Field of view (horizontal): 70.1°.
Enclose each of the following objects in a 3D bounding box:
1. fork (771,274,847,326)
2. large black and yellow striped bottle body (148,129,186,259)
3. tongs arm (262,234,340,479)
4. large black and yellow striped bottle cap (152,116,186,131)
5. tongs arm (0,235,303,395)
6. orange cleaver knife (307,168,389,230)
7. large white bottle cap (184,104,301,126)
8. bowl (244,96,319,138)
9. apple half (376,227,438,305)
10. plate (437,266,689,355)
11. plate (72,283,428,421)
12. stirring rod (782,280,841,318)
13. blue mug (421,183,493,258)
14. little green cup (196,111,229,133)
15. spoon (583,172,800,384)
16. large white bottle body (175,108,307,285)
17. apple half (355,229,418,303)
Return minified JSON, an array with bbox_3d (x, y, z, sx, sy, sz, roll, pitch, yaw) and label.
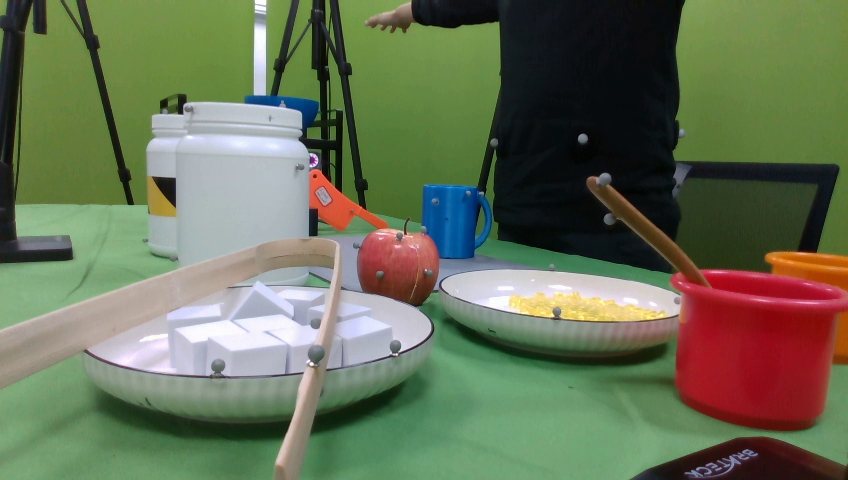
[{"bbox_3d":[0.332,0.018,0.443,0.028,0.018,0.207,-1,-36,-15],"label":"fork"},{"bbox_3d":[-0.310,-0.073,0.838,0.131,0.184,0.130,2,8,0],"label":"large black and yellow striped bottle body"},{"bbox_3d":[-0.074,0.039,0.349,0.051,0.026,0.384,-2,10,-3],"label":"tongs arm"},{"bbox_3d":[-0.309,-0.155,0.826,0.115,0.019,0.115,3,6,0],"label":"large black and yellow striped bottle cap"},{"bbox_3d":[-0.157,0.038,0.351,0.028,0.028,0.388,-3,9,12],"label":"tongs arm"},{"bbox_3d":[-0.158,-0.060,1.166,0.212,0.077,0.012,34,-12,-32],"label":"orange cleaver knife"},{"bbox_3d":[-0.184,-0.126,0.618,0.115,0.018,0.115,2,8,0],"label":"large white bottle cap"},{"bbox_3d":[-0.295,-0.252,1.254,0.151,0.077,0.151,2,7,0],"label":"bowl"},{"bbox_3d":[-0.017,0.025,0.593,0.080,0.074,0.053,4,2,43],"label":"apple half"},{"bbox_3d":[0.114,0.057,0.517,0.209,0.038,0.209,3,7,0],"label":"plate"},{"bbox_3d":[-0.102,0.066,0.381,0.208,0.039,0.207,2,7,0],"label":"plate"},{"bbox_3d":[0.344,0.019,0.461,0.014,0.006,0.176,-13,-27,-30],"label":"stirring rod"},{"bbox_3d":[0.052,-0.032,0.912,0.117,0.106,0.082,-1,8,-24],"label":"blue mug"},{"bbox_3d":[-0.403,-0.225,1.154,0.061,0.038,0.061,3,8,0],"label":"little green cup"},{"bbox_3d":[0.159,0.026,0.358,0.194,0.021,0.041,46,-2,-14],"label":"spoon"},{"bbox_3d":[-0.188,-0.042,0.630,0.131,0.184,0.130,2,8,0],"label":"large white bottle body"},{"bbox_3d":[-0.044,0.027,0.564,0.081,0.081,0.033,9,5,42],"label":"apple half"}]
